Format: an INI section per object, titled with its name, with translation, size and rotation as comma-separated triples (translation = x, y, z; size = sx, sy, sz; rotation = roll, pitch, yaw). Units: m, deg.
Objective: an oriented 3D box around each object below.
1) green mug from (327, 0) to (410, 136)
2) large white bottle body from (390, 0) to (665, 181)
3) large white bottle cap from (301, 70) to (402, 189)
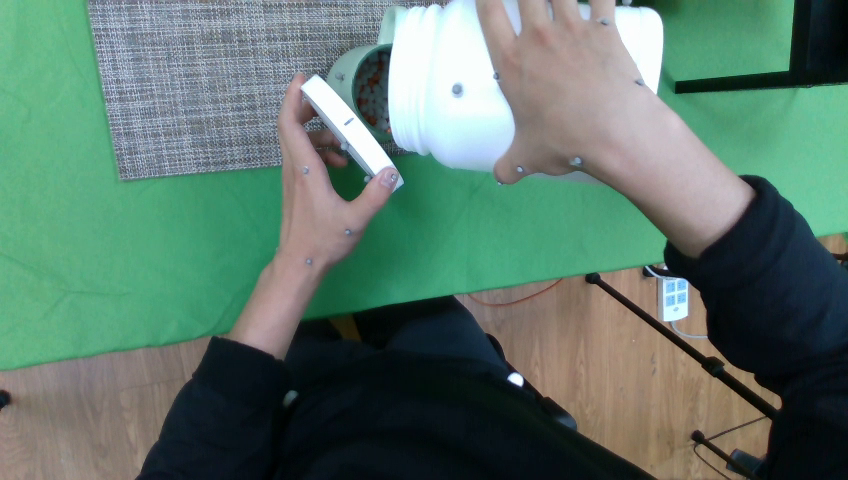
[green mug]
translation = -0.037, -0.161, 0.570
size = 0.093, 0.104, 0.125
rotation = 9, 98, -20
[large white bottle body]
translation = 0.076, -0.119, 0.468
size = 0.184, 0.130, 0.131
rotation = 8, 100, 11
[large white bottle cap]
translation = -0.060, -0.092, 0.512
size = 0.018, 0.114, 0.115
rotation = -40, 111, -2
